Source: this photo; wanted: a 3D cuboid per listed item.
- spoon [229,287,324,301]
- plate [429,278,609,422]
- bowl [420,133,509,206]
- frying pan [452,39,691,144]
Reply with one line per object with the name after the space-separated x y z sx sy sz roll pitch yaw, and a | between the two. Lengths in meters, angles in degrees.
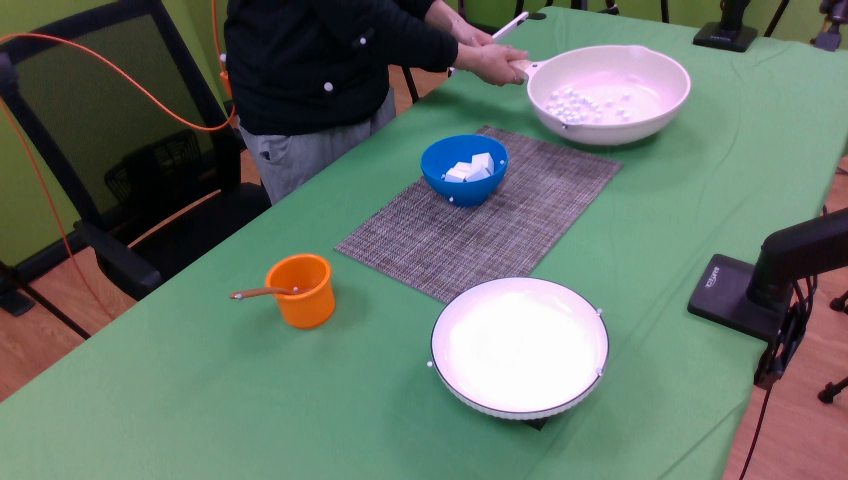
-0.197 0.071 0.816 0.041 0.195 0.021 13 88 23 | spoon
0.111 0.129 0.716 0.207 0.039 0.206 -5 39 4 | plate
0.071 -0.112 1.038 0.151 0.077 0.150 -4 40 4 | bowl
0.262 -0.319 1.190 0.484 0.103 0.307 29 54 24 | frying pan
